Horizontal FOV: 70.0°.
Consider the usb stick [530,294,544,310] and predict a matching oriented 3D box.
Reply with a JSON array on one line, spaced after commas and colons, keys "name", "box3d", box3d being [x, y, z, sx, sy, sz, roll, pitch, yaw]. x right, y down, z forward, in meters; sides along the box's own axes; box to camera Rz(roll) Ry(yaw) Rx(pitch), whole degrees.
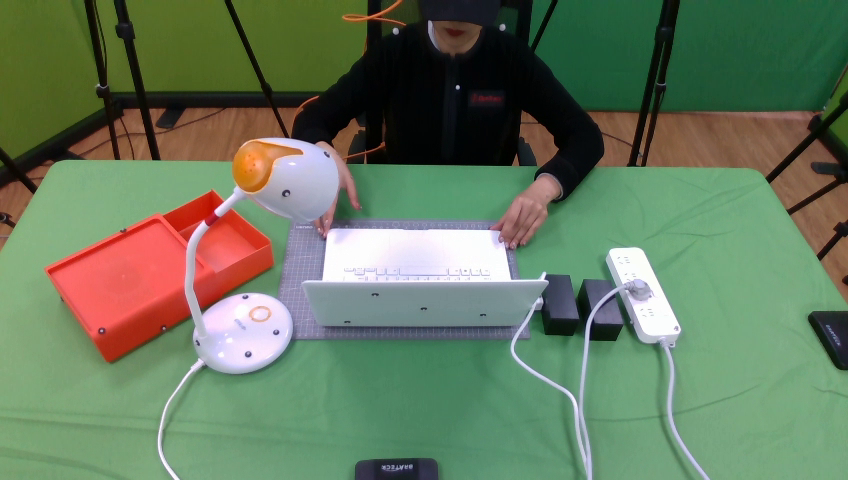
[{"name": "usb stick", "box3d": [0.183, 0.110, 1.087, 0.059, 0.027, 0.021, -2, 47, -6]}]

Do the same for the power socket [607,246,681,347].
[{"name": "power socket", "box3d": [0.403, 0.096, 1.123, 0.072, 0.033, 0.225, -3, 47, -5]}]

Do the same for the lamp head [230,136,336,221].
[{"name": "lamp head", "box3d": [-0.195, -0.085, 0.791, 0.112, 0.112, 0.123, 36, 15, 27]}]

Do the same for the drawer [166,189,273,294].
[{"name": "drawer", "box3d": [-0.419, 0.022, 1.109, 0.193, 0.073, 0.211, 37, 55, 27]}]

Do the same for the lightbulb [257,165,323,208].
[{"name": "lightbulb", "box3d": [-0.181, -0.075, 0.810, 0.059, 0.059, 0.108, 35, 12, 27]}]

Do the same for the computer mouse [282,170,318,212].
[{"name": "computer mouse", "box3d": [-0.259, -0.106, 1.272, 0.063, 0.041, 0.116, 3, 49, -2]}]

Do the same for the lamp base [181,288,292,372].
[{"name": "lamp base", "box3d": [-0.309, 0.108, 0.959, 0.160, 0.181, 0.179, 29, 55, 22]}]

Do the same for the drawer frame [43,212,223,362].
[{"name": "drawer frame", "box3d": [-0.497, 0.073, 1.049, 0.213, 0.083, 0.200, -34, 57, -31]}]

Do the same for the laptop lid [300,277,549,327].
[{"name": "laptop lid", "box3d": [-0.002, 0.101, 0.945, 0.357, 0.242, 0.013, 1, 66, -5]}]

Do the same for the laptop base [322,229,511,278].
[{"name": "laptop base", "box3d": [-0.013, 0.065, 1.134, 0.354, 0.023, 0.234, 0, 42, -4]}]

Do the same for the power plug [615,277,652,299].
[{"name": "power plug", "box3d": [0.375, 0.088, 1.096, 0.072, 0.053, 0.035, 6, 46, 2]}]
